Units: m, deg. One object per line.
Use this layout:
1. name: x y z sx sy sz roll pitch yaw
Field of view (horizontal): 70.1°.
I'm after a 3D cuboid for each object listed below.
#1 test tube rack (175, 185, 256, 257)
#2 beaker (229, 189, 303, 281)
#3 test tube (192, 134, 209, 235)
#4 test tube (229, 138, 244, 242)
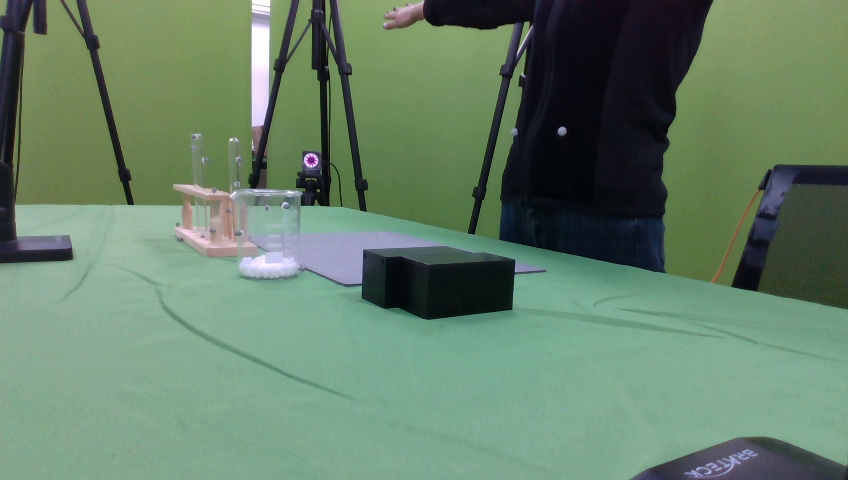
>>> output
1. test tube rack: -0.324 -0.035 0.922 0.067 0.085 0.241 -2 9 -31
2. beaker: -0.181 -0.007 0.695 0.084 0.100 0.073 -4 9 -36
3. test tube: -0.332 -0.082 0.898 0.017 0.150 0.017 -2 6 0
4. test tube: -0.269 -0.071 0.867 0.017 0.150 0.017 0 9 0
